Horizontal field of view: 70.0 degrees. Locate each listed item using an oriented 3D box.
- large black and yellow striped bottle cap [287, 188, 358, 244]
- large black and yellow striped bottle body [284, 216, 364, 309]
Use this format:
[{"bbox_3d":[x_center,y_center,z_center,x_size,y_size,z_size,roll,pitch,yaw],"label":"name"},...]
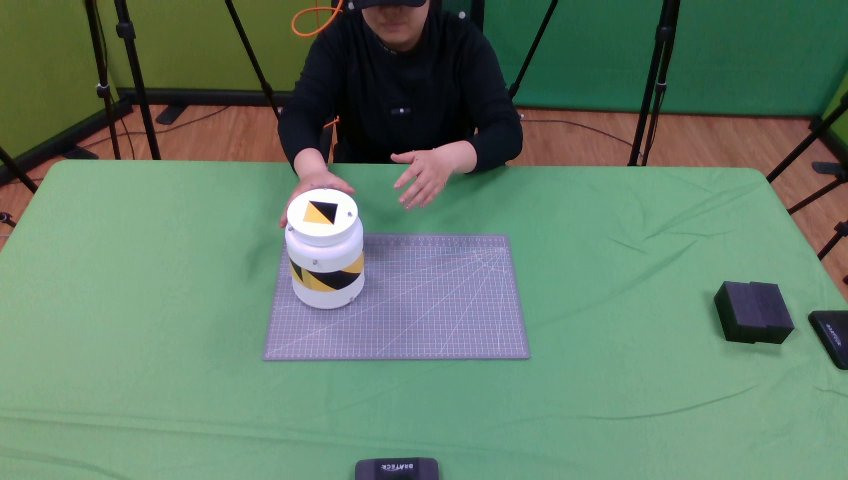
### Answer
[{"bbox_3d":[-0.166,-0.041,0.991,0.115,0.019,0.114,2,46,-1],"label":"large black and yellow striped bottle cap"},{"bbox_3d":[-0.171,0.017,1.052,0.131,0.185,0.130,2,46,-2],"label":"large black and yellow striped bottle body"}]
